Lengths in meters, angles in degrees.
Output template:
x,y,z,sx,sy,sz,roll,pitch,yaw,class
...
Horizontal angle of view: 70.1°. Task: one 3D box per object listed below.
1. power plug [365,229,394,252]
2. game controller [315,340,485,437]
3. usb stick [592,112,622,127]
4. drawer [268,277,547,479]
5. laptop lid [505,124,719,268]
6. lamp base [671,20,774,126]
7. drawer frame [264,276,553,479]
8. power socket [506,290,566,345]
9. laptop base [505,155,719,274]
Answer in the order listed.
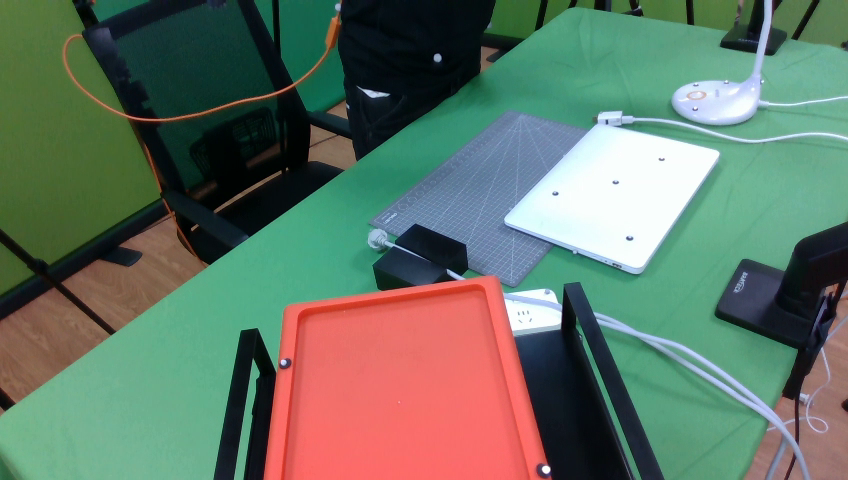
x,y,z,sx,sy,sz,roll,pitch,yaw,class
-0.067,0.010,0.954,0.035,0.053,0.072,-40,52,2,power plug
-0.021,0.120,0.533,0.155,0.052,0.096,-3,38,1,game controller
0.360,-0.239,1.197,0.059,0.021,0.027,4,43,27,usb stick
-0.018,0.137,0.493,0.195,0.073,0.210,-7,41,-1,drawer
0.323,-0.093,1.021,0.240,0.013,0.358,23,49,32,laptop lid
0.581,-0.332,1.154,0.179,0.181,0.160,2,42,7,lamp base
-0.016,0.137,0.490,0.202,0.083,0.212,-8,41,-2,drawer frame
0.081,0.112,0.822,0.227,0.033,0.072,-7,41,0,power socket
0.326,-0.083,1.028,0.233,0.023,0.355,21,48,32,laptop base
